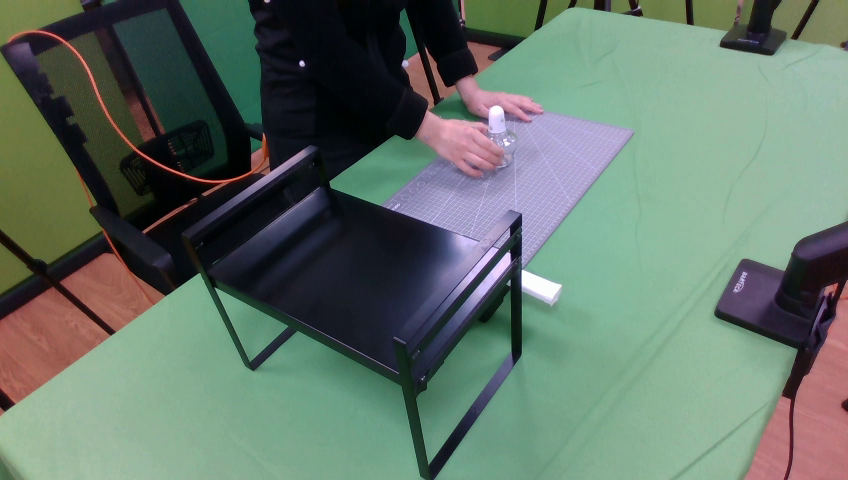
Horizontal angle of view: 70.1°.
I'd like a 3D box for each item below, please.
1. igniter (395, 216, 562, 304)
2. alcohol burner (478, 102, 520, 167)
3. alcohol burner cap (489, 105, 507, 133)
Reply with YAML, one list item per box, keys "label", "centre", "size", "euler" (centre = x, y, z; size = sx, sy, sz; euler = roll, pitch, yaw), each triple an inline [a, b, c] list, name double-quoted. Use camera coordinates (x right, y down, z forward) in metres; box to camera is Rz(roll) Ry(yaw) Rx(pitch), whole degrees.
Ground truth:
- label: "igniter"
  centre: [0.066, 0.023, 0.864]
  size: [0.274, 0.025, 0.057]
  euler: [24, 48, 28]
- label: "alcohol burner"
  centre: [0.136, -0.196, 1.106]
  size: [0.078, 0.119, 0.077]
  euler: [-4, 38, 4]
- label: "alcohol burner cap"
  centre: [0.132, -0.219, 1.086]
  size: [0.034, 0.048, 0.033]
  euler: [-4, 37, 4]
